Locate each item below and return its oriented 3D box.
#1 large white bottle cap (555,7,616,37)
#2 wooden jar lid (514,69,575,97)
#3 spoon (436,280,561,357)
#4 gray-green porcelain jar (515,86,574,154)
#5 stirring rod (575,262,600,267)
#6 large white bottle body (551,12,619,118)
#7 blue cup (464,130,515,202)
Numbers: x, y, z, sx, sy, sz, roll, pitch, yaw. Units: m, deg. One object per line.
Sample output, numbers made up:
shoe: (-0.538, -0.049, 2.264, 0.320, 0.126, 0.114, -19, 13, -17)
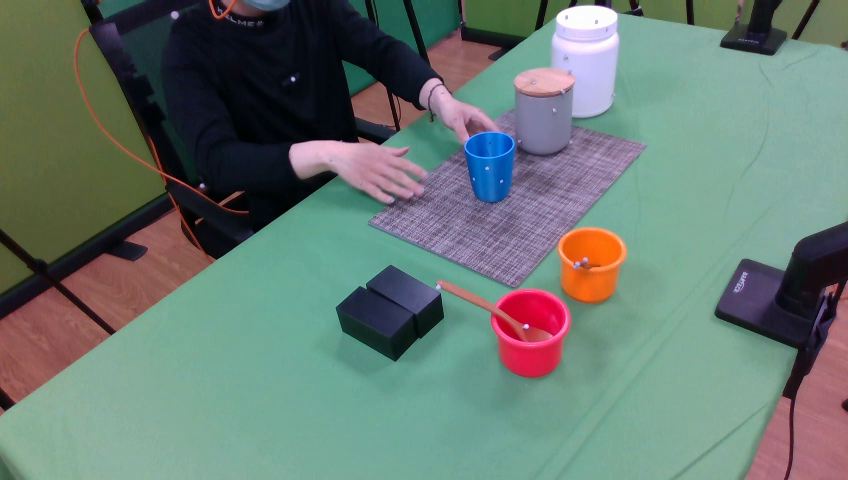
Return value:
large white bottle cap: (0.311, -0.420, 1.163, 0.115, 0.018, 0.114, -4, 40, 4)
wooden jar lid: (0.216, -0.279, 1.088, 0.108, 0.021, 0.108, -3, 38, 3)
spoon: (0.096, 0.095, 0.757, 0.195, 0.021, 0.041, 34, 42, -20)
gray-green porcelain jar: (0.223, -0.233, 1.129, 0.106, 0.127, 0.105, -4, 40, 4)
stirring rod: (0.222, 0.033, 0.816, 0.014, 0.006, 0.177, 7, 0, 22)
large white bottle body: (0.321, -0.356, 1.218, 0.130, 0.185, 0.130, -4, 41, 4)
blue cup: (0.114, -0.122, 1.035, 0.092, 0.100, 0.092, -4, 40, 4)
